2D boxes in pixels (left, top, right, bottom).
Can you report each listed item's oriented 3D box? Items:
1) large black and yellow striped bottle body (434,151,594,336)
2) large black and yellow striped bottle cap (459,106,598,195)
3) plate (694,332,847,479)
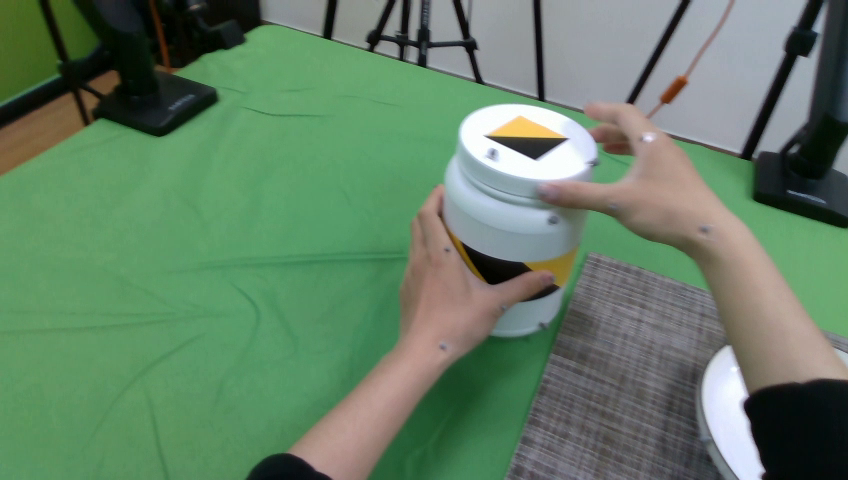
[{"bbox_3d":[0.081,-0.014,0.561,0.131,0.185,0.129,3,42,-3],"label":"large black and yellow striped bottle body"},{"bbox_3d":[0.087,-0.077,0.504,0.115,0.019,0.114,4,41,-3],"label":"large black and yellow striped bottle cap"},{"bbox_3d":[0.323,0.167,0.495,0.208,0.039,0.205,4,42,-3],"label":"plate"}]
